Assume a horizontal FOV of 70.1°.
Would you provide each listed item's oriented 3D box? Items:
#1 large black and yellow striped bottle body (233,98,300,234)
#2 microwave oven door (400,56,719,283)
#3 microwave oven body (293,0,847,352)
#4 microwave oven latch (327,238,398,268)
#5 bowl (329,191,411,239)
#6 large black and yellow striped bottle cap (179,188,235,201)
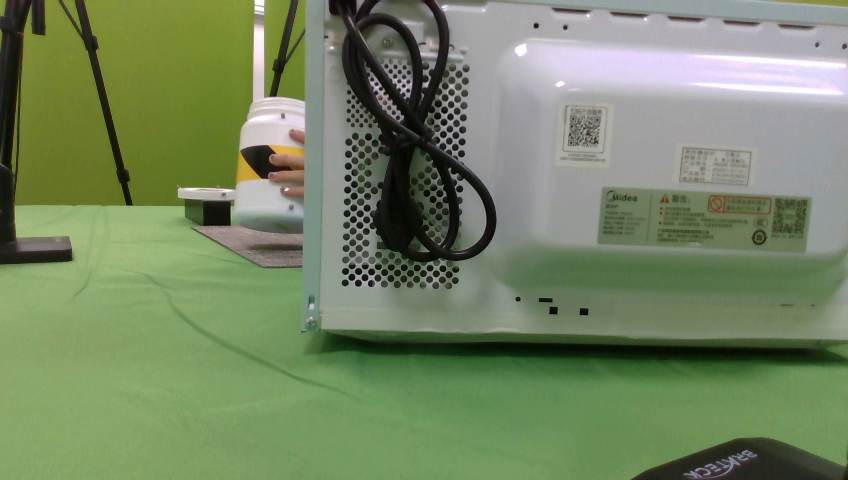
[{"bbox_3d":[-0.215,-0.109,0.918,0.131,0.183,0.131,2,-10,1],"label":"large black and yellow striped bottle body"},{"bbox_3d":[0.155,-0.077,0.698,0.356,0.243,0.039,2,8,-5],"label":"microwave oven door"},{"bbox_3d":[0.122,-0.055,0.550,0.442,0.260,0.325,3,7,-5],"label":"microwave oven body"},{"bbox_3d":[-0.069,0.015,0.694,0.079,0.029,0.030,3,7,-3],"label":"microwave oven latch"},{"bbox_3d":[-0.099,-0.046,1.104,0.151,0.077,0.151,3,8,0],"label":"bowl"},{"bbox_3d":[-0.434,-0.093,1.226,0.115,0.019,0.115,3,9,0],"label":"large black and yellow striped bottle cap"}]
